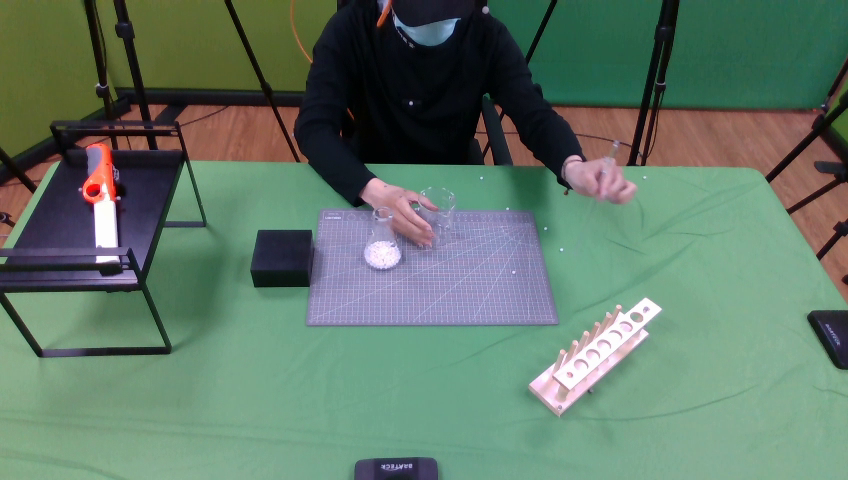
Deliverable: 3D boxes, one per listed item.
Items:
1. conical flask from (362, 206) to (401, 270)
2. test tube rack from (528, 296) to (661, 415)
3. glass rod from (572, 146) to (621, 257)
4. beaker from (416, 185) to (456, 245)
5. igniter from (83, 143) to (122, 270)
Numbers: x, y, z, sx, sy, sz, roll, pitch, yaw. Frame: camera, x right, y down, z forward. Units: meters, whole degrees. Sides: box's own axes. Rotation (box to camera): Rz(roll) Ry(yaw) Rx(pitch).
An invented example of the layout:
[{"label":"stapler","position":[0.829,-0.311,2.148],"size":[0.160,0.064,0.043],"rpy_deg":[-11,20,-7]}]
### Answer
[{"label":"conical flask","position":[-0.078,-0.008,1.127],"size":[0.075,0.122,0.075],"rpy_deg":[2,46,-2]},{"label":"test tube rack","position":[0.285,0.178,1.005],"size":[0.242,0.085,0.066],"rpy_deg":[-31,56,-29]},{"label":"glass rod","position":[0.289,-0.064,1.019],"size":[0.008,0.200,0.008],"rpy_deg":[19,12,-4]},{"label":"beaker","position":[0.023,-0.043,1.184],"size":[0.074,0.101,0.083],"rpy_deg":[-19,51,-20]},{"label":"igniter","position":[-0.508,-0.063,0.962],"size":[0.057,0.025,0.274],"rpy_deg":[-14,53,-18]}]
